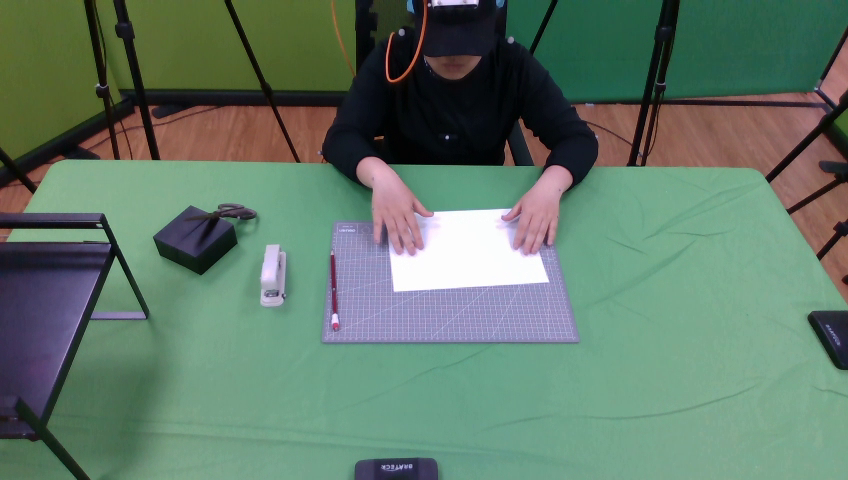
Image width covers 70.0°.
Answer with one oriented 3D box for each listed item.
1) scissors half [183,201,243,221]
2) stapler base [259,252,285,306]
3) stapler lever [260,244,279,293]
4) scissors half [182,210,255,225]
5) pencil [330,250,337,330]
[{"bbox_3d":[-0.405,-0.053,1.163,0.040,0.013,0.175,29,18,7],"label":"scissors half"},{"bbox_3d":[-0.280,0.064,1.113,0.041,0.024,0.129,-1,44,-9],"label":"stapler base"},{"bbox_3d":[-0.279,0.045,1.096,0.027,0.040,0.117,-1,44,-9],"label":"stapler lever"},{"bbox_3d":[-0.389,-0.042,1.158,0.040,0.013,0.175,40,21,22],"label":"scissors half"},{"bbox_3d":[-0.167,0.086,1.107,0.012,0.012,0.192,-3,45,-7],"label":"pencil"}]
